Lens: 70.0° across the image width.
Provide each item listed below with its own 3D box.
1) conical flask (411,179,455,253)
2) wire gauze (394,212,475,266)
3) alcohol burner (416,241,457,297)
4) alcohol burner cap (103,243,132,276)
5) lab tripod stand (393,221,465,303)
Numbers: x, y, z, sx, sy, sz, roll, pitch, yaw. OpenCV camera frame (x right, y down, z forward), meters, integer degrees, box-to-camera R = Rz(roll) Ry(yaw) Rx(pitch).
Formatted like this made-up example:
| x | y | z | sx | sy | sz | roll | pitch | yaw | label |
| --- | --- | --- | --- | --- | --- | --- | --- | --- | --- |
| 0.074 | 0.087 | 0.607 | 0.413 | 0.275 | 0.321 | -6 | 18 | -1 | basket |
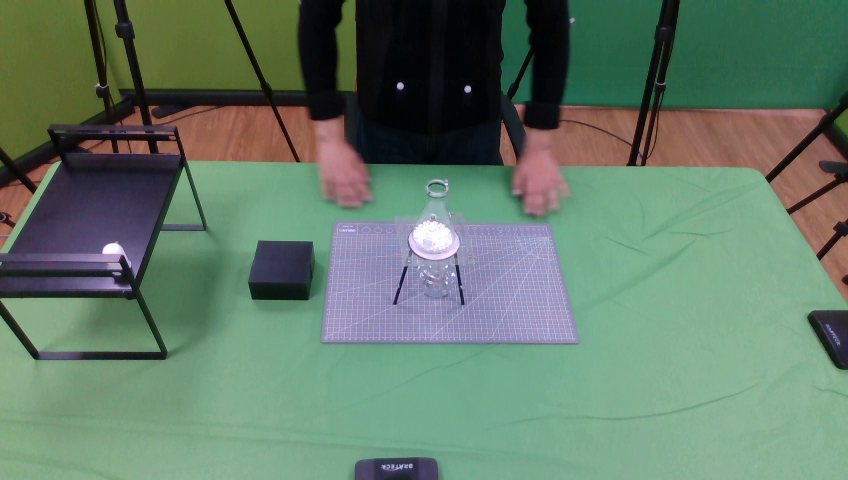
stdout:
| x | y | z | sx | sy | sz | roll | pitch | yaw | label |
| --- | --- | --- | --- | --- | --- | --- | --- | --- | --- |
| 0.017 | -0.042 | 0.985 | 0.075 | 0.122 | 0.075 | 2 | 47 | -2 | conical flask |
| 0.015 | -0.001 | 1.029 | 0.125 | 0.011 | 0.120 | -5 | 45 | -5 | wire gauze |
| 0.024 | 0.047 | 1.087 | 0.078 | 0.120 | 0.077 | 1 | 47 | -1 | alcohol burner |
| -0.446 | 0.025 | 0.875 | 0.034 | 0.048 | 0.033 | 3 | 46 | -3 | alcohol burner cap |
| 0.010 | 0.045 | 1.074 | 0.148 | 0.132 | 0.147 | 2 | 48 | -2 | lab tripod stand |
